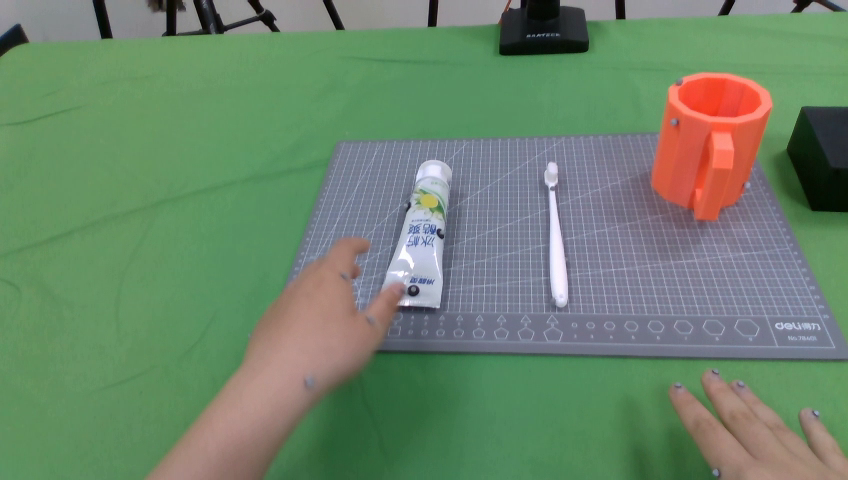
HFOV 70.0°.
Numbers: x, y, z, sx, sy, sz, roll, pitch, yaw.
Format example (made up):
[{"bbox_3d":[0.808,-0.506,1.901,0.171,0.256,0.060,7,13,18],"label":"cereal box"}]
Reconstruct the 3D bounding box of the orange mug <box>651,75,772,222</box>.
[{"bbox_3d":[0.259,-0.079,0.551,0.083,0.102,0.125,6,40,14],"label":"orange mug"}]

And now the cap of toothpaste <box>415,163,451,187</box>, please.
[{"bbox_3d":[0.009,-0.062,0.612,0.037,0.038,0.011,2,47,10],"label":"cap of toothpaste"}]

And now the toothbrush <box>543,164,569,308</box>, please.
[{"bbox_3d":[0.121,-0.010,0.556,0.014,0.017,0.180,10,45,-2],"label":"toothbrush"}]

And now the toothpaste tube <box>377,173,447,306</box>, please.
[{"bbox_3d":[-0.004,-0.005,0.560,0.055,0.035,0.163,-1,46,11],"label":"toothpaste tube"}]
